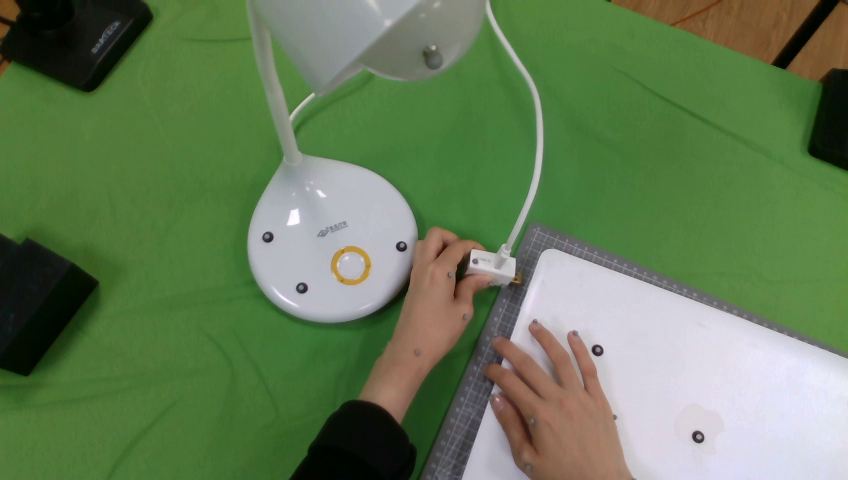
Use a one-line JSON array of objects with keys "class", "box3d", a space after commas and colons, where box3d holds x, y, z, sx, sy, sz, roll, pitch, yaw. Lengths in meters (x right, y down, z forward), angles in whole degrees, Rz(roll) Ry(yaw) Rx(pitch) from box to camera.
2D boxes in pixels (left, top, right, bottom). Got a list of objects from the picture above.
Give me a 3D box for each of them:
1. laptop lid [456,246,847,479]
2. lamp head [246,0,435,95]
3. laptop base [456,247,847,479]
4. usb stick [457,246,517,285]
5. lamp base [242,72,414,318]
[{"class": "laptop lid", "box3d": [0.228, 0.165, 0.518, 0.356, 0.013, 0.240, 22, 72, 6]}, {"class": "lamp head", "box3d": [-0.036, -0.132, 0.219, 0.112, 0.112, 0.123, -45, 100, -18]}, {"class": "laptop base", "box3d": [0.229, 0.168, 0.530, 0.354, 0.023, 0.234, 21, 72, 5]}, {"class": "usb stick", "box3d": [0.062, 0.025, 0.566, 0.059, 0.027, 0.021, 15, 53, -14]}, {"class": "lamp base", "box3d": [-0.095, -0.042, 0.506, 0.160, 0.181, 0.178, -35, 71, -15]}]
